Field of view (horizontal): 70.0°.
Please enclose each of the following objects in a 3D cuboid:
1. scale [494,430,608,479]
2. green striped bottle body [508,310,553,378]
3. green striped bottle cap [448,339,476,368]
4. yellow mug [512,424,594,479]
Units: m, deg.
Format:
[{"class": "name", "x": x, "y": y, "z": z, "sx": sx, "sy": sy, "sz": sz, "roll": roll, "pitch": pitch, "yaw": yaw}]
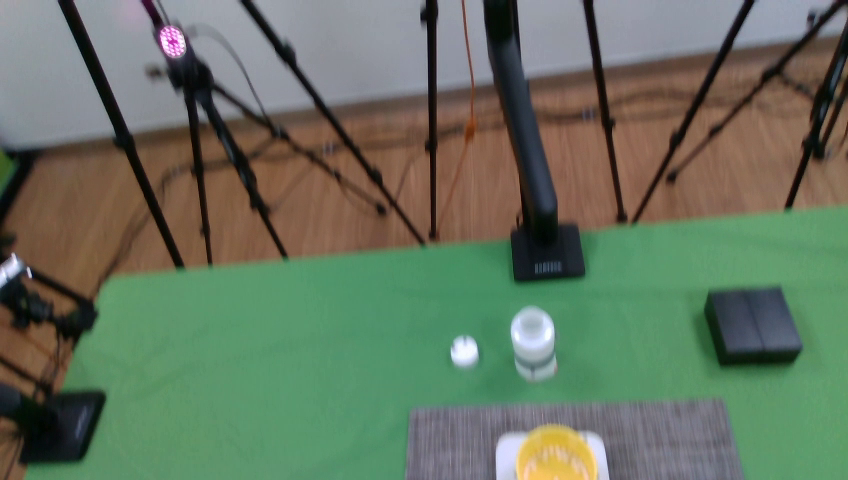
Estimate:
[{"class": "scale", "x": 0.167, "y": 0.347, "z": 0.786, "sx": 0.148, "sy": 0.032, "sz": 0.199, "roll": -5, "pitch": 51, "yaw": 9}, {"class": "green striped bottle body", "x": 0.157, "y": 0.151, "z": 0.894, "sx": 0.063, "sy": 0.120, "sz": 0.062, "roll": -6, "pitch": 51, "yaw": 8}, {"class": "green striped bottle cap", "x": 0.060, "y": 0.180, "z": 0.963, "sx": 0.044, "sy": 0.020, "sz": 0.044, "roll": -5, "pitch": 55, "yaw": 8}, {"class": "yellow mug", "x": 0.153, "y": 0.303, "z": 0.763, "sx": 0.099, "sy": 0.064, "sz": 0.130, "roll": 32, "pitch": 65, "yaw": 31}]
